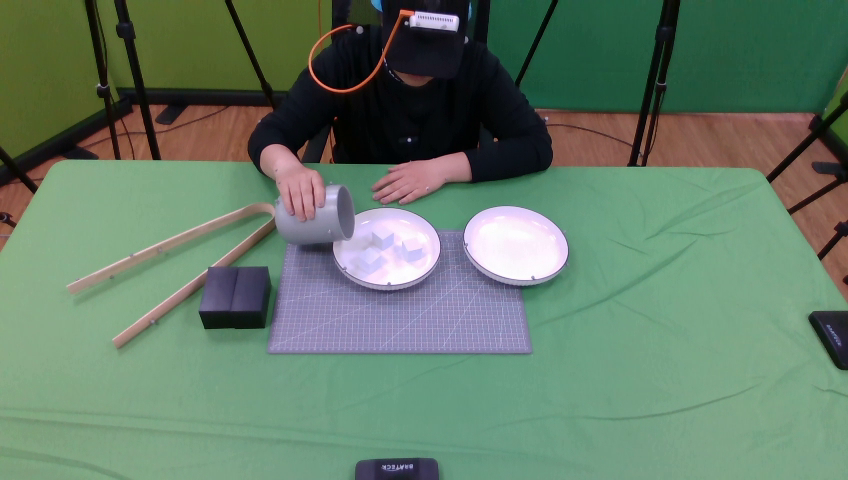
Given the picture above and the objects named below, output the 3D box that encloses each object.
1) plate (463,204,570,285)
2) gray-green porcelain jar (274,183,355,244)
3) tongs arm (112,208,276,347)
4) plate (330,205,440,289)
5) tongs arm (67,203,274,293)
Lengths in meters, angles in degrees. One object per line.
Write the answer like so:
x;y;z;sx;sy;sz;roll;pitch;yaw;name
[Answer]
0.178;0.012;1.184;0.209;0.038;0.208;3;46;-3;plate
-0.205;-0.047;1.126;0.126;0.106;0.105;-5;45;11;gray-green porcelain jar
-0.400;0.058;1.108;0.028;0.028;0.387;26;49;23;tongs arm
-0.074;0.017;1.160;0.208;0.039;0.206;2;46;-2;plate
-0.461;0.013;1.142;0.385;0.026;0.050;-31;56;-31;tongs arm
